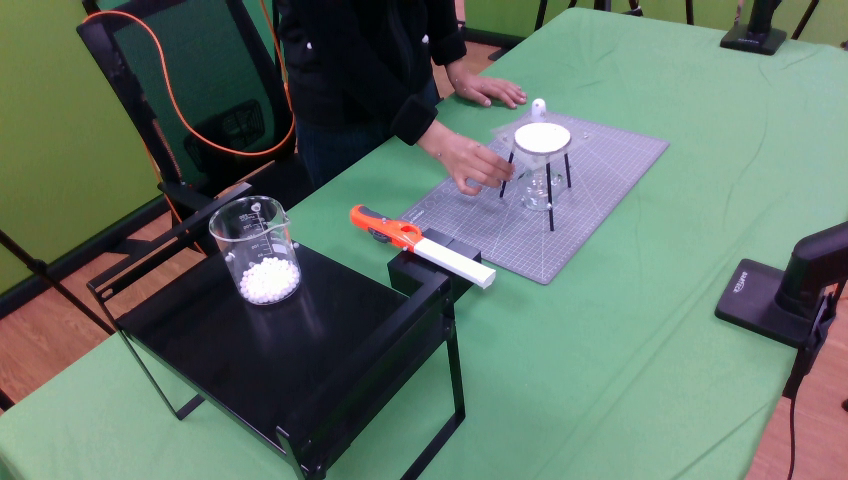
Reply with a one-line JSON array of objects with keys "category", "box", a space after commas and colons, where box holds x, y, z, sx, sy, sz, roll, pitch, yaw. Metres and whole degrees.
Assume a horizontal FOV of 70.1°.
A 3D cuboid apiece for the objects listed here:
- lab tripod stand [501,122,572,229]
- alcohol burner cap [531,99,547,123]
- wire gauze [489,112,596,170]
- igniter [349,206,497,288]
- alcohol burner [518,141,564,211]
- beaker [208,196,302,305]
[{"category": "lab tripod stand", "box": [0.195, -0.110, 0.985, 0.148, 0.132, 0.147, -3, 42, 3]}, {"category": "alcohol burner cap", "box": [0.234, -0.264, 1.231, 0.034, 0.048, 0.033, -5, 41, 5]}, {"category": "wire gauze", "box": [0.183, -0.161, 0.942, 0.122, 0.011, 0.124, -24, 44, -18]}, {"category": "igniter", "box": [-0.013, 0.004, 0.897, 0.274, 0.025, 0.057, 25, 44, 32]}, {"category": "alcohol burner", "box": [0.193, -0.109, 0.999, 0.078, 0.119, 0.077, -6, 38, 5]}, {"category": "beaker", "box": [-0.173, 0.014, 0.647, 0.084, 0.101, 0.073, -1, 41, 8]}]
